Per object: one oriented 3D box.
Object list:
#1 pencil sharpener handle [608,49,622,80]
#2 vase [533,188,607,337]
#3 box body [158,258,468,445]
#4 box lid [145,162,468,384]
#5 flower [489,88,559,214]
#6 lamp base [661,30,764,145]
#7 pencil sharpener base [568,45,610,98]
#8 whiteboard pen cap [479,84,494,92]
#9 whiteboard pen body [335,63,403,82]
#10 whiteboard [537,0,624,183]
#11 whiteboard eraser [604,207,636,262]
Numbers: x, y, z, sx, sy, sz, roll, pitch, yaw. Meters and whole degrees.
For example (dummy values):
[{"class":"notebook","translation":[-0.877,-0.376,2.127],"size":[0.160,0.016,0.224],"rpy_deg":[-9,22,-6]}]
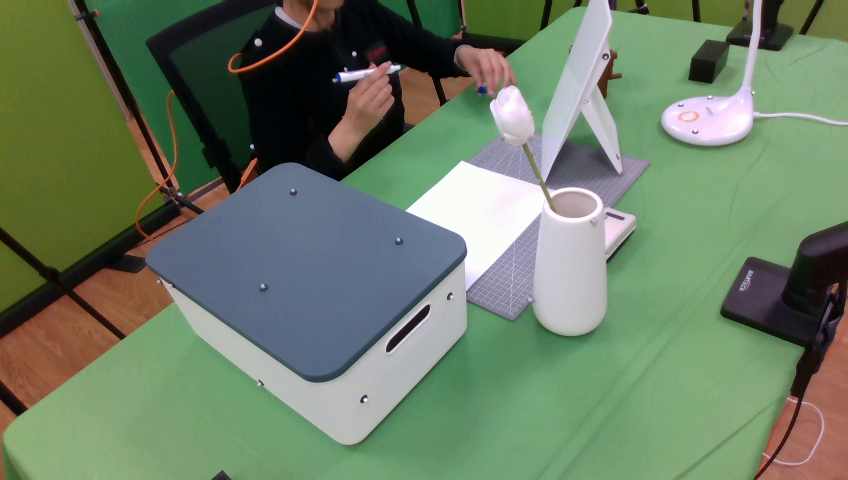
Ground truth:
[{"class":"pencil sharpener handle","translation":[0.394,-0.368,1.253],"size":[0.030,0.068,0.036],"rpy_deg":[-8,32,1]},{"class":"vase","translation":[0.187,0.033,0.771],"size":[0.098,0.201,0.097],"rpy_deg":[-6,41,6]},{"class":"box body","translation":[-0.147,0.072,0.816],"size":[0.361,0.161,0.255],"rpy_deg":[24,50,33]},{"class":"box lid","translation":[-0.157,0.014,0.769],"size":[0.368,0.015,0.264],"rpy_deg":[25,51,33]},{"class":"flower","translation":[0.158,-0.027,0.720],"size":[0.038,0.364,0.044],"rpy_deg":[-14,44,23]},{"class":"lamp base","translation":[0.535,-0.287,1.095],"size":[0.179,0.181,0.159],"rpy_deg":[-10,40,-4]},{"class":"pencil sharpener base","translation":[0.345,-0.352,1.263],"size":[0.077,0.107,0.061],"rpy_deg":[-8,40,1]},{"class":"whiteboard pen cap","translation":[0.131,-0.319,1.270],"size":[0.018,0.018,0.033],"rpy_deg":[29,31,36]},{"class":"whiteboard pen body","translation":[-0.098,-0.310,1.110],"size":[0.141,0.017,0.017],"rpy_deg":[-20,41,-28]},{"class":"whiteboard","translation":[0.316,-0.256,1.047],"size":[0.144,0.306,0.216],"rpy_deg":[15,42,-1]},{"class":"whiteboard eraser","translation":[0.272,-0.003,0.919],"size":[0.055,0.042,0.113],"rpy_deg":[27,51,32]}]
